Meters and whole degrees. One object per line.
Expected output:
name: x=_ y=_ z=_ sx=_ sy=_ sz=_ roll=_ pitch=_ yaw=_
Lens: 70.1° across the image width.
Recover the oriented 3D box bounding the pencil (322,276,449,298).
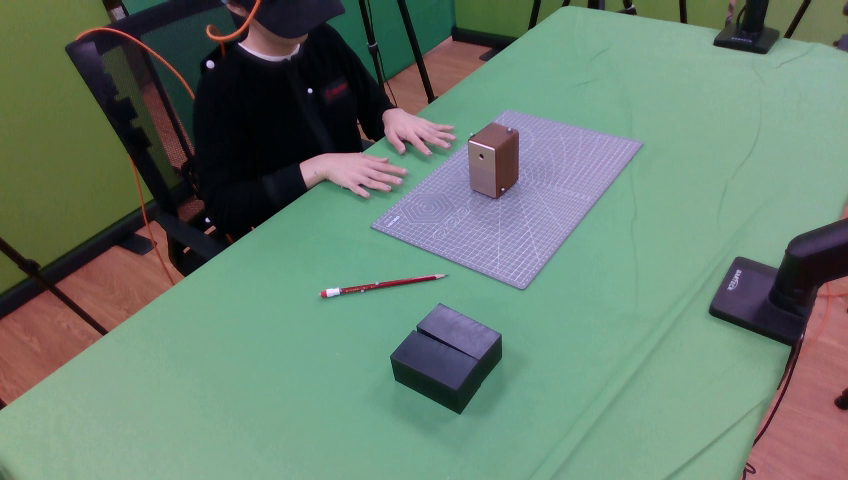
pencil: x=-0.058 y=0.069 z=0.916 sx=0.194 sy=0.012 sz=0.012 roll=-8 pitch=40 yaw=-3

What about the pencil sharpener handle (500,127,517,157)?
pencil sharpener handle: x=0.154 y=-0.178 z=1.072 sx=0.036 sy=0.068 sz=0.031 roll=36 pitch=55 yaw=20

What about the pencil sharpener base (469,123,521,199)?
pencil sharpener base: x=0.126 y=-0.138 z=1.050 sx=0.061 sy=0.107 sz=0.077 roll=24 pitch=50 yaw=33
